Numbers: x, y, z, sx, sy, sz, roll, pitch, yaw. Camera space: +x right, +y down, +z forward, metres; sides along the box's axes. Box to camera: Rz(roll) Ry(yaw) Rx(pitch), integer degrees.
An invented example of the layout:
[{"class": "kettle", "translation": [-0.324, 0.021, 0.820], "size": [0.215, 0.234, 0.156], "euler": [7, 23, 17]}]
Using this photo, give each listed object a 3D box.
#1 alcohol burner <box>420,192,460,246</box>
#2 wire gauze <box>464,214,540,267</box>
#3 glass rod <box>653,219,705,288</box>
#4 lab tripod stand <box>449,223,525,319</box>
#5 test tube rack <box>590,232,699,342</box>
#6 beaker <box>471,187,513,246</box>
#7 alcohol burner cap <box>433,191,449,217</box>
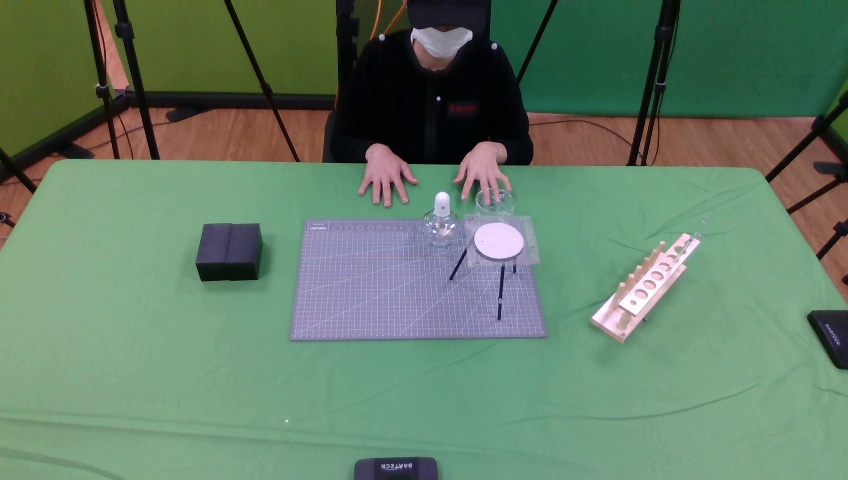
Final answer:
[{"class": "alcohol burner", "translation": [0.032, -0.046, 1.176], "size": [0.078, 0.120, 0.077], "euler": [2, 44, -1]}, {"class": "wire gauze", "translation": [0.131, -0.002, 1.034], "size": [0.121, 0.011, 0.124], "euler": [1, 45, -2]}, {"class": "glass rod", "translation": [0.444, 0.032, 1.063], "size": [0.008, 0.200, 0.008], "euler": [5, 49, -6]}, {"class": "lab tripod stand", "translation": [0.120, 0.046, 1.080], "size": [0.148, 0.132, 0.147], "euler": [1, 47, -1]}, {"class": "test tube rack", "translation": [0.407, 0.074, 1.112], "size": [0.066, 0.085, 0.242], "euler": [35, 53, 26]}, {"class": "beaker", "translation": [0.133, -0.042, 1.190], "size": [0.083, 0.101, 0.074], "euler": [34, 53, 25]}, {"class": "alcohol burner cap", "translation": [0.033, -0.070, 1.150], "size": [0.034, 0.048, 0.033], "euler": [0, 45, 0]}]
